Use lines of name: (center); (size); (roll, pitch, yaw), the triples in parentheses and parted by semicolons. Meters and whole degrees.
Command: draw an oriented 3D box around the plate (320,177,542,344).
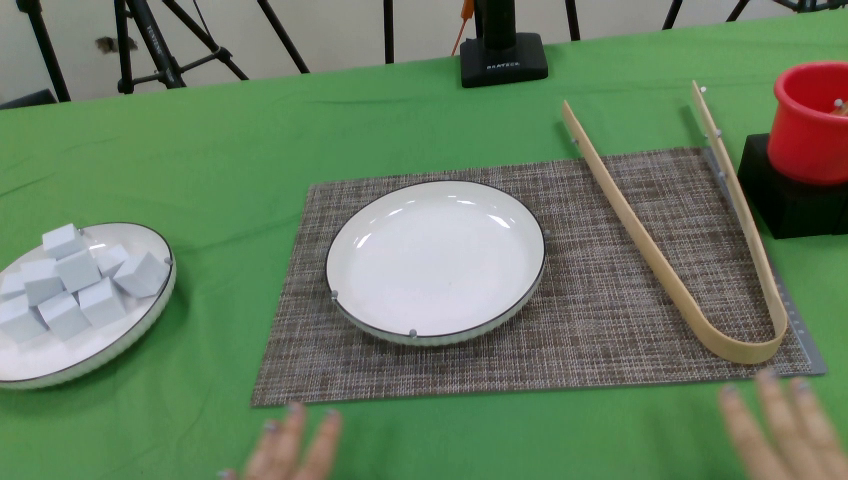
plate: (0.007, 0.019, 0.577); (0.207, 0.039, 0.205); (-5, 44, 6)

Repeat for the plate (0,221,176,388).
plate: (-0.348, 0.063, 0.606); (0.209, 0.038, 0.207); (-5, 43, 5)

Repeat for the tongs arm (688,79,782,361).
tongs arm: (0.284, -0.048, 0.596); (0.050, 0.027, 0.381); (-1, 45, 7)

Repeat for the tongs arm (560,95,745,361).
tongs arm: (0.202, -0.039, 0.603); (0.028, 0.028, 0.383); (-8, 43, -5)

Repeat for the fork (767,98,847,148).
fork: (0.395, -0.137, 0.511); (0.207, 0.019, 0.028); (-38, 9, 32)

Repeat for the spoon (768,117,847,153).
spoon: (0.366, -0.106, 0.483); (0.041, 0.193, 0.021); (-29, 88, -25)
